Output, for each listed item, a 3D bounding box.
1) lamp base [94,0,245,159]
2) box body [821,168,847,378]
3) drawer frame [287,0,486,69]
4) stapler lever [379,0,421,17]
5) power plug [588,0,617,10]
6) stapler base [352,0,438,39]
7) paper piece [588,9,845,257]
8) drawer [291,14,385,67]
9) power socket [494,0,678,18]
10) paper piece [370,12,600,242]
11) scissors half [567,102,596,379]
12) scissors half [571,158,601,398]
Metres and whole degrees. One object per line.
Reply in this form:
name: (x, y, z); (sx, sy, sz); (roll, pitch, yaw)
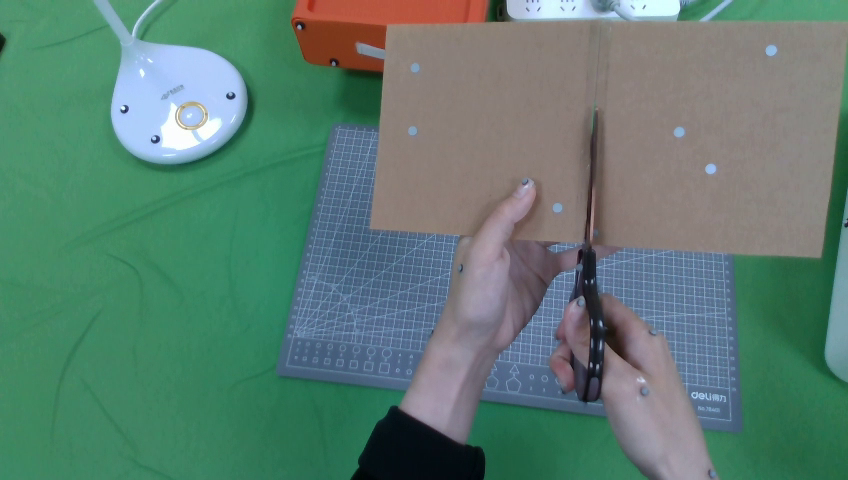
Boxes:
lamp base: (-0.306, -0.203, 0.653); (0.178, 0.181, 0.160); (38, 74, 19)
box body: (0.542, -0.015, 0.549); (0.253, 0.161, 0.362); (19, 70, 10)
drawer frame: (-0.028, -0.300, 0.687); (0.201, 0.083, 0.212); (7, 67, 6)
stapler lever: (-0.052, -0.285, 0.674); (0.117, 0.040, 0.027); (36, 89, 19)
power plug: (0.209, -0.279, 0.717); (0.035, 0.053, 0.072); (10, 69, 6)
stapler base: (-0.044, -0.279, 0.699); (0.130, 0.024, 0.041); (36, 89, 18)
paper piece: (0.164, -0.062, 0.353); (0.135, 0.004, 0.136); (6, 97, 10)
drawer: (-0.026, -0.297, 0.686); (0.194, 0.074, 0.210); (7, 67, 6)
power socket: (0.201, -0.297, 0.750); (0.227, 0.033, 0.071); (0, 68, 2)
paper piece: (0.035, -0.071, 0.377); (0.135, 0.009, 0.138); (5, 92, 15)
scissors half: (0.100, 0.004, 0.379); (0.013, 0.040, 0.176); (3, 105, 9)
scissors half: (0.097, 0.004, 0.357); (0.013, 0.040, 0.174); (3, 77, 4)
